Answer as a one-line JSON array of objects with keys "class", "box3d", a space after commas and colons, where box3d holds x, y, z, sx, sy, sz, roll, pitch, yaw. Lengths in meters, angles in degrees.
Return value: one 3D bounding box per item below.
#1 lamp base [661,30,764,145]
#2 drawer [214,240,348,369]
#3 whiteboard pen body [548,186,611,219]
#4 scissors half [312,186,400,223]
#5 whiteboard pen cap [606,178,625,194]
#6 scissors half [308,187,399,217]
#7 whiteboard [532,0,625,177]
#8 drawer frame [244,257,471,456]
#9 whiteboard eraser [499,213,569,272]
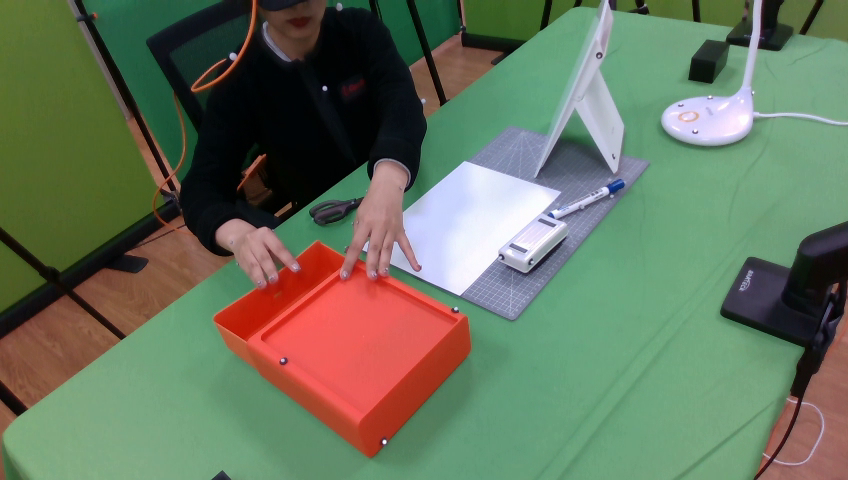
[{"class": "lamp base", "box3d": [0.535, -0.287, 1.095, 0.179, 0.181, 0.159, -10, 40, -4]}, {"class": "drawer", "box3d": [-0.142, 0.113, 0.833, 0.210, 0.073, 0.195, 26, 50, 31]}, {"class": "whiteboard pen body", "box3d": [0.267, -0.066, 1.004, 0.141, 0.017, 0.017, -25, 43, -13]}, {"class": "scissors half", "box3d": [-0.119, -0.066, 1.088, 0.176, 0.013, 0.040, -25, 35, -24]}, {"class": "whiteboard pen cap", "box3d": [0.320, -0.090, 1.016, 0.033, 0.018, 0.018, -27, 43, -13]}, {"class": "scissors half", "box3d": [-0.127, -0.074, 1.104, 0.176, 0.013, 0.039, -16, 27, -11]}, {"class": "whiteboard", "box3d": [0.320, -0.259, 1.050, 0.144, 0.306, 0.217, 21, 45, 5]}, {"class": "drawer frame", "box3d": [-0.083, 0.137, 0.788, 0.212, 0.083, 0.202, 25, 49, 33]}, {"class": "whiteboard eraser", "box3d": [0.168, 0.006, 0.923, 0.055, 0.042, 0.113, 29, 53, 34]}]
